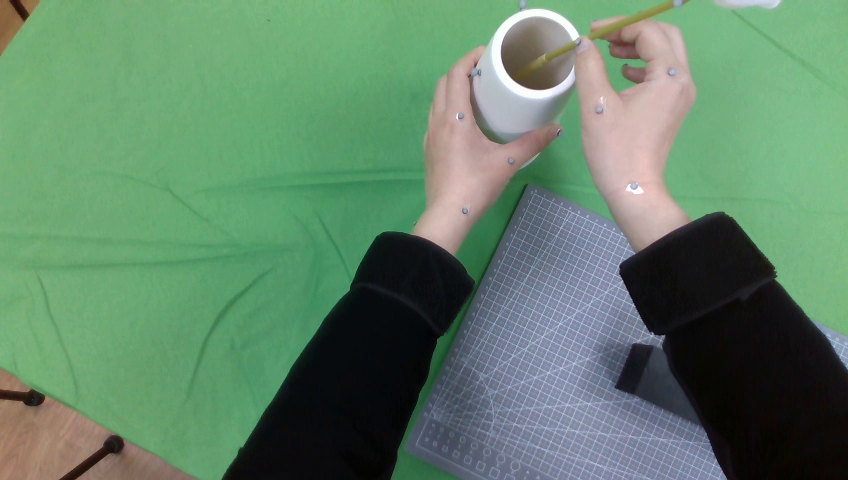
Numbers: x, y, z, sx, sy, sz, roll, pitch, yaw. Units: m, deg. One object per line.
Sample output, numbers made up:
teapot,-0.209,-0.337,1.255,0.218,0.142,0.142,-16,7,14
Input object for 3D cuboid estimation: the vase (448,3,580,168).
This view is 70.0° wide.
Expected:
vase,0.077,-0.130,0.537,0.098,0.200,0.098,0,83,-4

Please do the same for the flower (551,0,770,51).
flower,0.107,-0.145,0.434,0.038,0.360,0.044,30,80,-21
